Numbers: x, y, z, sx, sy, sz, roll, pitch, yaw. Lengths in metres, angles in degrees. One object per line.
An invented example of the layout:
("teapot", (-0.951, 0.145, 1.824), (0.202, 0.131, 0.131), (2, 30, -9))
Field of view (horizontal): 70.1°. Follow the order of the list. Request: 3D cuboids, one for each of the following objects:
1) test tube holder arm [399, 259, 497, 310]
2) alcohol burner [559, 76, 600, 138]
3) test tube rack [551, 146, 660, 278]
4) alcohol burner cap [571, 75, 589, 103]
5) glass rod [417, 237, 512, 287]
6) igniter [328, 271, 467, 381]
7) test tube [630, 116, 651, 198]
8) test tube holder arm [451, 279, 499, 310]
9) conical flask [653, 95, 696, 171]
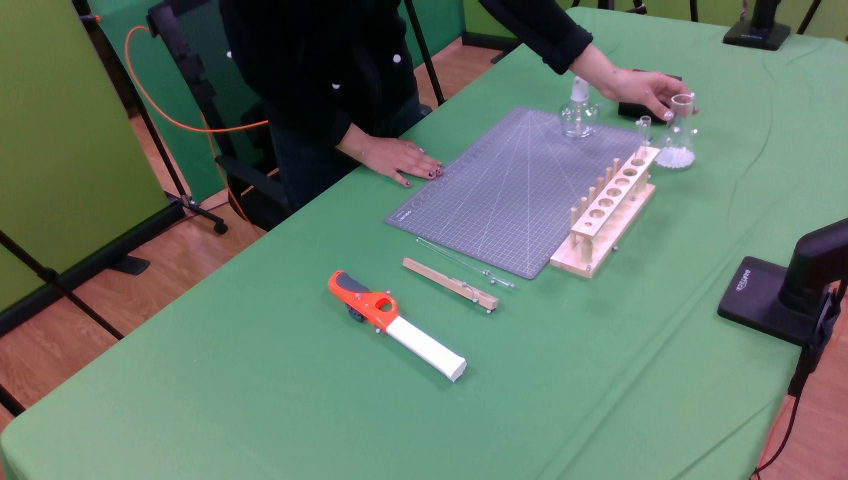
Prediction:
("test tube holder arm", (0.032, 0.064, 0.902), (0.177, 0.015, 0.013), (23, 12, 32))
("alcohol burner", (0.298, -0.258, 1.156), (0.078, 0.119, 0.077), (-4, 39, 4))
("test tube rack", (0.286, -0.053, 0.943), (0.066, 0.085, 0.243), (21, 49, 32))
("alcohol burner cap", (0.294, -0.284, 1.132), (0.034, 0.048, 0.033), (-5, 46, 5))
("glass rod", (0.059, 0.032, 0.945), (0.198, 0.008, 0.008), (27, 52, 38))
("igniter", (-0.049, 0.114, 0.854), (0.274, 0.025, 0.057), (29, 63, 37))
("test tube", (0.336, -0.125, 0.941), (0.017, 0.151, 0.017), (-5, 43, 5))
("test tube holder arm", (0.071, 0.079, 0.882), (0.087, 0.015, 0.010), (23, 12, 34))
("conical flask", (0.437, -0.187, 1.043), (0.075, 0.122, 0.075), (-6, 41, 5))
